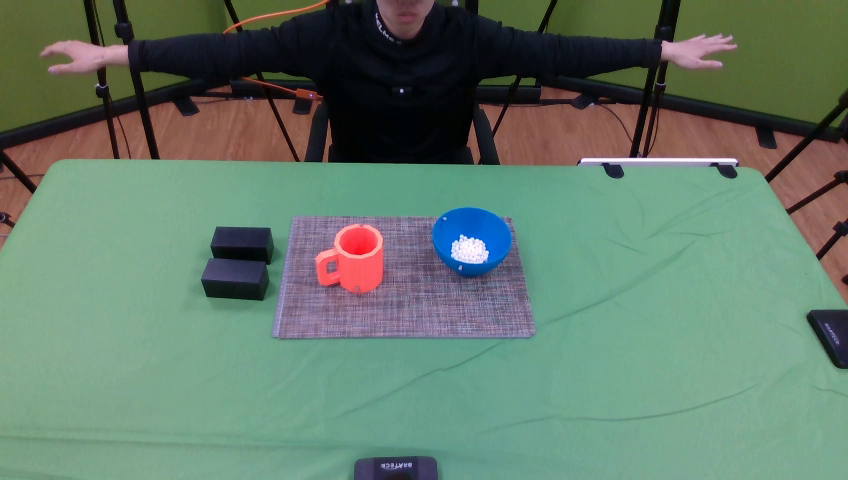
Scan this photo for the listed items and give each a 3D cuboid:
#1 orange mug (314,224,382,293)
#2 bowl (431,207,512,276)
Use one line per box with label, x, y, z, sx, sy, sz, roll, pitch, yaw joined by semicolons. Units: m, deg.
orange mug;-0.135;0.038;1.094;0.126;0.101;0.083;-14;49;-23
bowl;0.086;0.016;1.147;0.151;0.077;0.150;2;46;-2
